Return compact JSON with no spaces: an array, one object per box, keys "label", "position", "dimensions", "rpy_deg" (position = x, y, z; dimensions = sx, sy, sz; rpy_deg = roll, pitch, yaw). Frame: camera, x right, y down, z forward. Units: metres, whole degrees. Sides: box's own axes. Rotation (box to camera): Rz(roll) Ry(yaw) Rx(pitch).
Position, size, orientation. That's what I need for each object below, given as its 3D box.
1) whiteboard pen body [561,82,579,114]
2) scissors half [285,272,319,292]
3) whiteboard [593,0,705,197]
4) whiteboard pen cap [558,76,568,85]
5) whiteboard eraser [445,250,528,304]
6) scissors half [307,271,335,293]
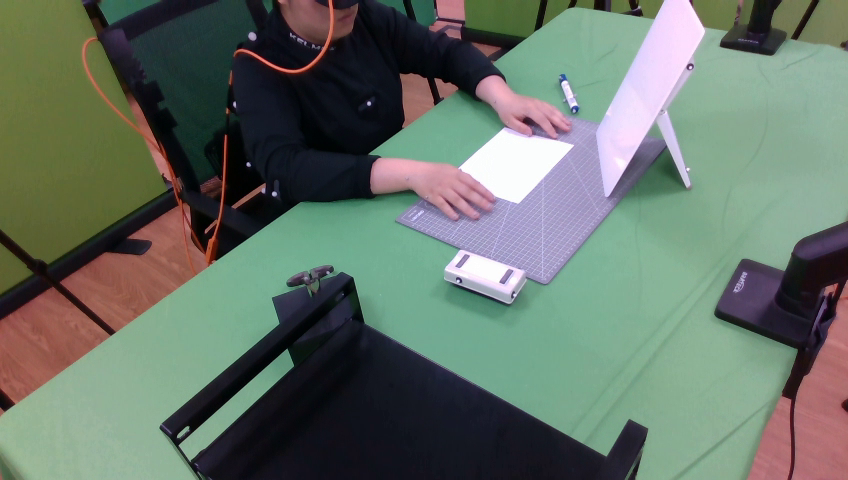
[{"label":"whiteboard pen body","position":[0.310,-0.311,1.298],"dimensions":[0.017,0.017,0.140],"rpy_deg":[-6,41,2]},{"label":"scissors half","position":[-0.172,0.063,0.868],"dimensions":[0.040,0.013,0.174],"rpy_deg":[-10,7,-21]},{"label":"whiteboard","position":[0.421,-0.227,1.009],"dimensions":[0.144,0.305,0.216],"rpy_deg":[17,41,-3]},{"label":"whiteboard pen cap","position":[0.309,-0.350,1.340],"dimensions":[0.018,0.018,0.033],"rpy_deg":[-6,41,2]},{"label":"whiteboard eraser","position":[0.090,0.056,0.882],"dimensions":[0.112,0.042,0.056],"rpy_deg":[18,44,27]},{"label":"scissors half","position":[-0.152,0.061,0.872],"dimensions":[0.040,0.013,0.175],"rpy_deg":[-3,5,-4]}]
